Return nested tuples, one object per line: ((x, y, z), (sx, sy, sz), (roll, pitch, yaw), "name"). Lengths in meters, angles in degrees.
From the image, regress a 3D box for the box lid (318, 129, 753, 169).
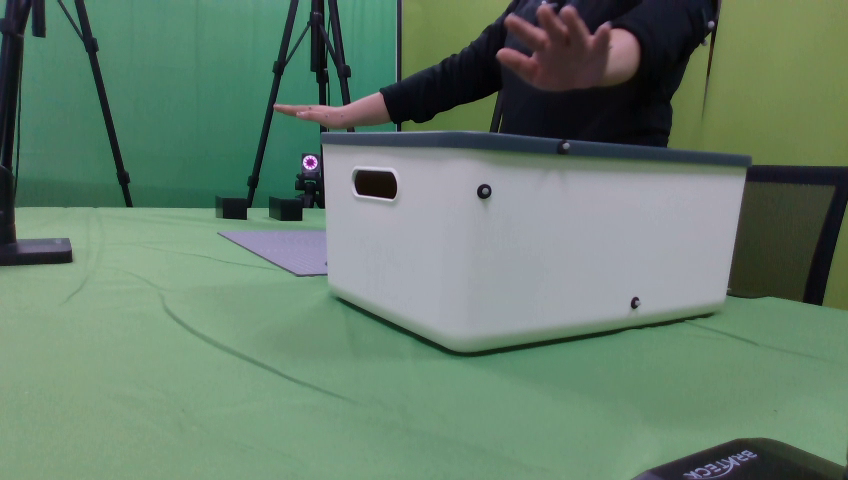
((0.107, -0.085, 0.593), (0.373, 0.015, 0.262), (-1, 8, -34), "box lid")

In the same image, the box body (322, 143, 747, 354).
((0.106, -0.011, 0.603), (0.366, 0.160, 0.253), (-2, 8, -34), "box body")
